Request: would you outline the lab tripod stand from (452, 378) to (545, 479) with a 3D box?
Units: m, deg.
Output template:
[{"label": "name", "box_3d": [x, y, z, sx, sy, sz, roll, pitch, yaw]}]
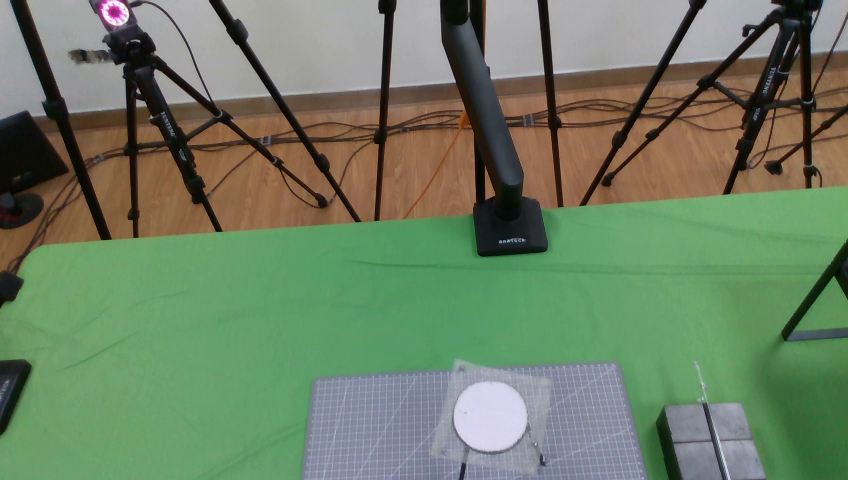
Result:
[{"label": "lab tripod stand", "box_3d": [0.080, 0.240, 0.760, 0.148, 0.133, 0.147, -4, 51, 5]}]

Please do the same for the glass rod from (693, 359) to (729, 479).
[{"label": "glass rod", "box_3d": [0.363, 0.240, 0.759, 0.008, 0.008, 0.198, -1, 52, 4]}]

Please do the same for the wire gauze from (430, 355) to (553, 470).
[{"label": "wire gauze", "box_3d": [0.081, 0.198, 0.706, 0.121, 0.011, 0.124, 10, 52, 13]}]
